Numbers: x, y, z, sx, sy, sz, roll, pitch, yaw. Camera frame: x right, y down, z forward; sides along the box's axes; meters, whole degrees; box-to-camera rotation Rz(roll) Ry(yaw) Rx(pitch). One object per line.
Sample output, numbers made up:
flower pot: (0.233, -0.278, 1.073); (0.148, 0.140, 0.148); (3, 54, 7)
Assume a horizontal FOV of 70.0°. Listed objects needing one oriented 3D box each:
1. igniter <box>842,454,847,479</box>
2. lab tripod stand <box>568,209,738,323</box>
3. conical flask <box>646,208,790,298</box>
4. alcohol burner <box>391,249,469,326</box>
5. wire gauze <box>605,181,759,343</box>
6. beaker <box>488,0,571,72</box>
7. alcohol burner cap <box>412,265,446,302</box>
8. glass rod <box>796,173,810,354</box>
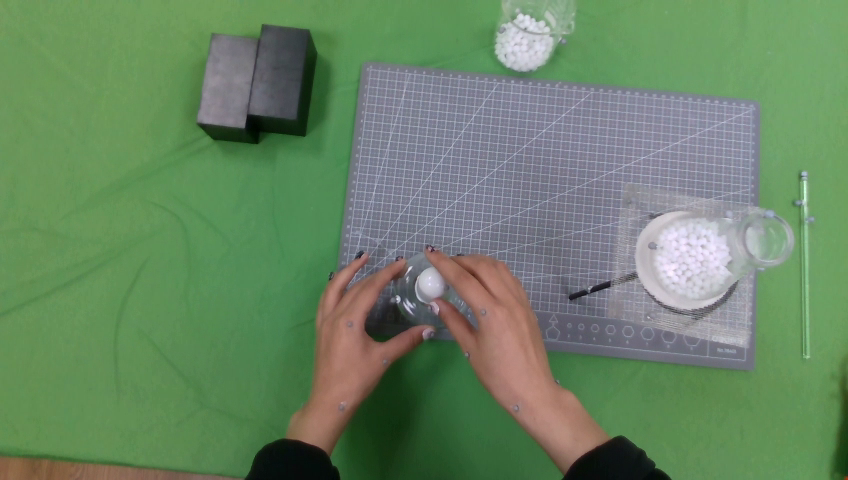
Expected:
igniter: (0.482, 0.122, 0.635); (0.057, 0.025, 0.275); (18, 81, -9)
lab tripod stand: (0.224, 0.030, 0.587); (0.148, 0.132, 0.148); (0, 83, 0)
conical flask: (0.227, 0.005, 0.465); (0.075, 0.122, 0.075); (0, 83, 0)
alcohol burner: (0.006, 0.045, 0.591); (0.078, 0.119, 0.077); (0, 82, 1)
wire gauze: (0.223, 0.018, 0.523); (0.125, 0.011, 0.121); (12, 84, -1)
beaker: (0.110, -0.228, 0.644); (0.084, 0.100, 0.074); (41, 83, 5)
alcohol burner cap: (0.006, 0.038, 0.556); (0.034, 0.048, 0.033); (1, 77, -3)
glass rod: (0.411, 0.023, 0.657); (0.008, 0.008, 0.199); (4, 81, -1)
